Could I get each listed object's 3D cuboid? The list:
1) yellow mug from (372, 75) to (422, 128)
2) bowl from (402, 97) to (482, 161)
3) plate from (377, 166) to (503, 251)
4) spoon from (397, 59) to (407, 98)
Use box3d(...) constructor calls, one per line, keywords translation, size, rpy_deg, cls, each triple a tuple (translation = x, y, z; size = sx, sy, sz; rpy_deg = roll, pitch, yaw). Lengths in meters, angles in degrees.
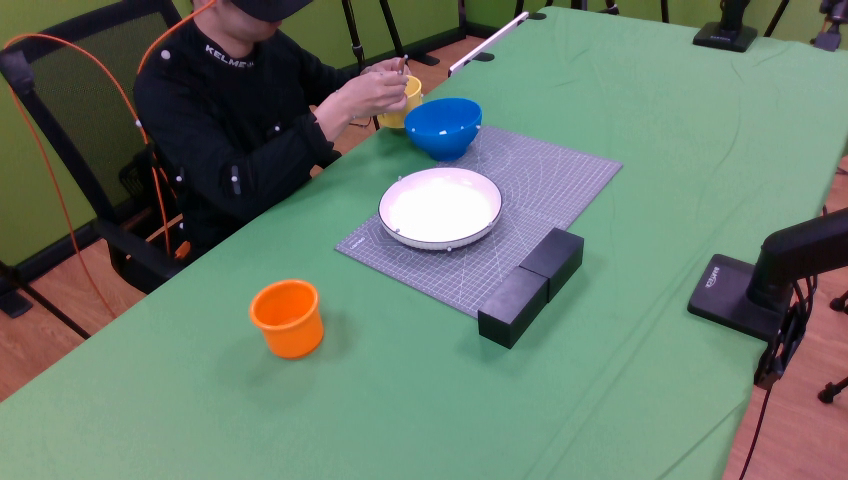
box3d(translation=(-0.052, -0.292, 1.235), size=(0.100, 0.064, 0.130), rpy_deg=(-8, 42, 0), cls="yellow mug")
box3d(translation=(0.040, -0.203, 1.154), size=(0.151, 0.077, 0.150), rpy_deg=(-7, 38, 6), cls="bowl")
box3d(translation=(0.027, -0.050, 1.007), size=(0.209, 0.038, 0.208), rpy_deg=(-4, 41, 4), cls="plate")
box3d(translation=(-0.044, -0.293, 1.158), size=(0.042, 0.194, 0.021), rpy_deg=(-34, 76, -9), cls="spoon")
